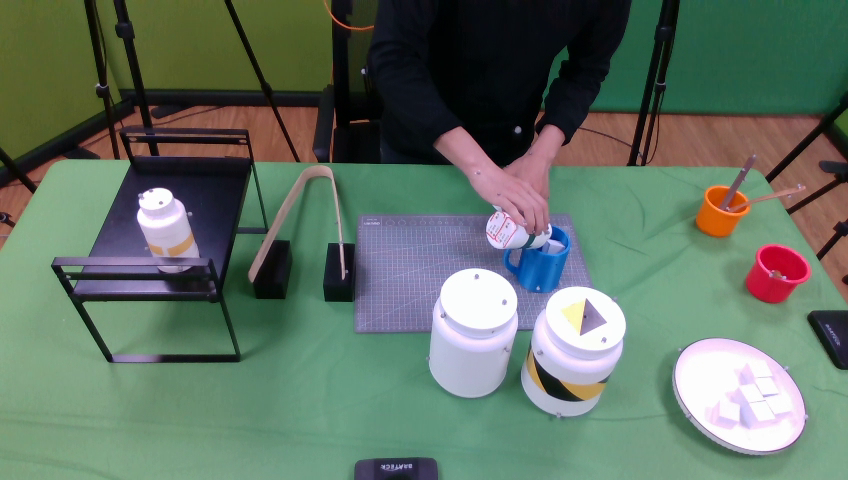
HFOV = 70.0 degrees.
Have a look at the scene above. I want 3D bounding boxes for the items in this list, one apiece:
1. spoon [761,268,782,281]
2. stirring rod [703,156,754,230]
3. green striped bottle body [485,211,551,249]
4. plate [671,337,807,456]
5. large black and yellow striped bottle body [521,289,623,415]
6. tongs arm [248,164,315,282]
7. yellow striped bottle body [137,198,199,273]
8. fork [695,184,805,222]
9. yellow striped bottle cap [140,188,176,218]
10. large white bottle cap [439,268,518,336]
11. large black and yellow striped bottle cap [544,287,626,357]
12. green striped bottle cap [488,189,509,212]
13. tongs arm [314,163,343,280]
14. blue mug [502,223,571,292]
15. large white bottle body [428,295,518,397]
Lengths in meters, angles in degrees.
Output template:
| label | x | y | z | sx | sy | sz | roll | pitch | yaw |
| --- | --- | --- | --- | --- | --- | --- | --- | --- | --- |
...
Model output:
| label | x | y | z | sx | sy | sz | roll | pitch | yaw |
| --- | --- | --- | --- | --- | --- | --- | --- | --- | --- |
| spoon | 0.638 | 0.060 | 1.105 | 0.041 | 0.021 | 0.194 | 38 | 11 | 24 |
| stirring rod | 0.631 | -0.097 | 1.258 | 0.014 | 0.006 | 0.176 | 33 | 95 | 29 |
| green striped bottle body | 0.165 | -0.017 | 1.028 | 0.119 | 0.063 | 0.063 | -2 | 41 | -42 |
| plate | 0.503 | 0.254 | 0.984 | 0.208 | 0.039 | 0.206 | 2 | 46 | -2 |
| large black and yellow striped bottle body | 0.228 | 0.173 | 0.938 | 0.131 | 0.185 | 0.130 | 2 | 47 | -2 |
| tongs arm | -0.270 | -0.047 | 1.165 | 0.028 | 0.028 | 0.385 | -1 | 34 | 7 |
| yellow striped bottle body | -0.366 | -0.014 | 0.864 | 0.063 | 0.121 | 0.062 | 2 | 46 | -2 |
| fork | 0.657 | -0.075 | 1.230 | 0.207 | 0.019 | 0.028 | -23 | 34 | 37 |
| yellow striped bottle cap | -0.363 | -0.051 | 0.826 | 0.044 | 0.019 | 0.044 | 1 | 48 | -1 |
| large white bottle cap | 0.080 | 0.089 | 0.888 | 0.115 | 0.018 | 0.114 | 2 | 47 | -2 |
| large black and yellow striped bottle cap | 0.232 | 0.116 | 0.876 | 0.115 | 0.019 | 0.114 | 2 | 46 | -1 |
| green striped bottle cap | 0.143 | -0.076 | 1.164 | 0.044 | 0.020 | 0.044 | 33 | 36 | -28 |
| tongs arm | -0.188 | -0.049 | 1.170 | 0.051 | 0.026 | 0.382 | -6 | 35 | -6 |
| blue mug | 0.203 | 0.031 | 1.121 | 0.116 | 0.106 | 0.082 | 5 | 47 | 1 |
| large white bottle body | 0.076 | 0.147 | 0.950 | 0.131 | 0.185 | 0.130 | 2 | 46 | -2 |
